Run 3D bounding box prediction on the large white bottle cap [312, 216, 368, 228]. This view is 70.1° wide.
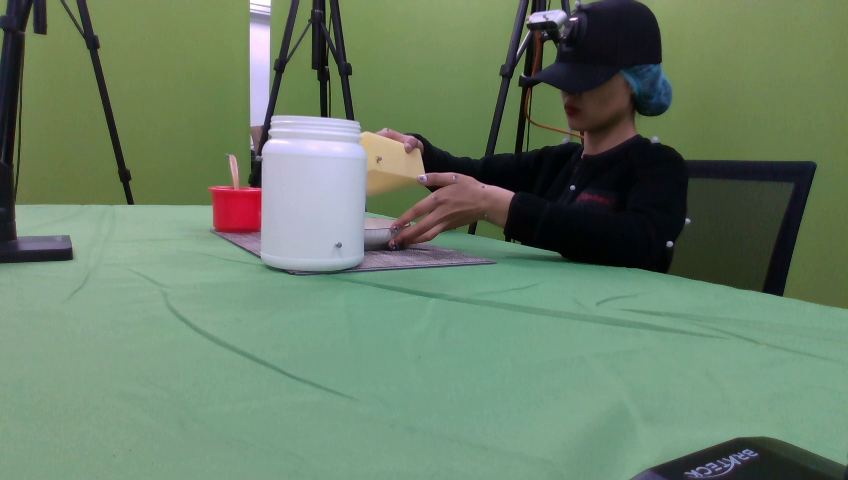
[{"bbox_3d":[-0.171,-0.038,1.234,0.115,0.018,0.115,1,5,0],"label":"large white bottle cap"}]

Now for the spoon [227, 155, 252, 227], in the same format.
[{"bbox_3d":[-0.343,-0.093,1.108,0.042,0.021,0.193,-1,52,-22],"label":"spoon"}]

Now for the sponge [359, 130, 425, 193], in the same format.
[{"bbox_3d":[-0.093,-0.124,1.007,0.118,0.061,0.207,-13,-4,21],"label":"sponge"}]

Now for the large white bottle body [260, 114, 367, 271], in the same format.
[{"bbox_3d":[-0.138,-0.061,0.762,0.131,0.184,0.130,3,8,0],"label":"large white bottle body"}]

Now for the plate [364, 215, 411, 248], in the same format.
[{"bbox_3d":[-0.125,-0.015,0.979,0.209,0.038,0.209,2,7,0],"label":"plate"}]
